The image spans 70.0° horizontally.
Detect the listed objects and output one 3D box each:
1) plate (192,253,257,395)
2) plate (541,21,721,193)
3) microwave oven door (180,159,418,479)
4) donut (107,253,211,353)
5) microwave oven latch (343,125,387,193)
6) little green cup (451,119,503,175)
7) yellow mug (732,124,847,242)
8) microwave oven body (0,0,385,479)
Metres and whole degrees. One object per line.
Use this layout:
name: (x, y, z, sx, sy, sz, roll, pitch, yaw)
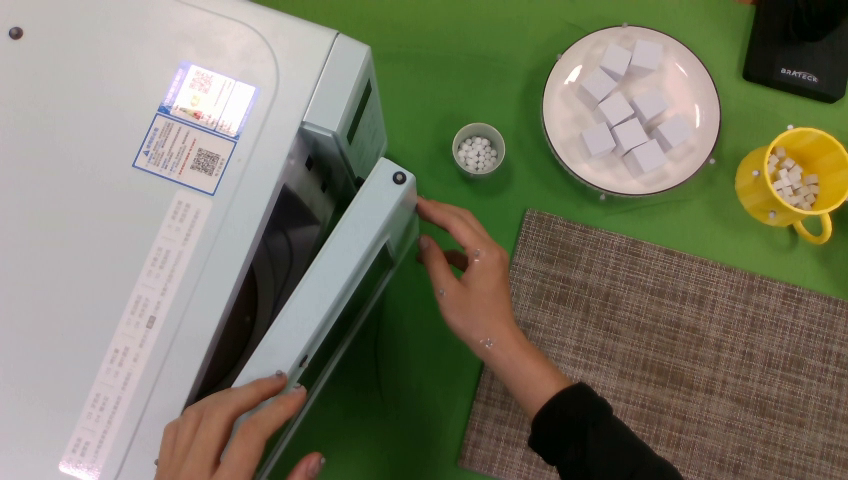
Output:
plate: (-0.271, 0.062, 0.616, 0.209, 0.038, 0.208, 0, 82, 0)
plate: (0.240, -0.154, 0.716, 0.208, 0.039, 0.207, 0, 81, -1)
microwave oven door: (-0.113, 0.108, 0.552, 0.039, 0.244, 0.355, 31, 82, 5)
donut: (-0.261, 0.062, 0.601, 0.099, 0.048, 0.099, 0, 85, -4)
microwave oven latch: (-0.067, -0.095, 0.684, 0.030, 0.029, 0.079, 23, 83, 2)
little green cup: (0.060, -0.105, 0.704, 0.061, 0.039, 0.061, 0, 83, 0)
yellow mug: (0.423, -0.060, 0.690, 0.100, 0.064, 0.130, -20, 83, -4)
microwave oven body: (-0.266, 0.005, 0.570, 0.326, 0.261, 0.440, 20, 82, 2)
